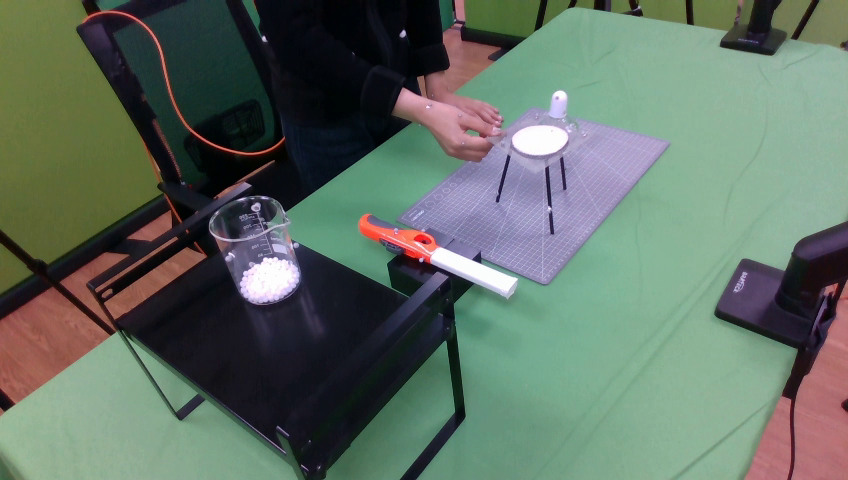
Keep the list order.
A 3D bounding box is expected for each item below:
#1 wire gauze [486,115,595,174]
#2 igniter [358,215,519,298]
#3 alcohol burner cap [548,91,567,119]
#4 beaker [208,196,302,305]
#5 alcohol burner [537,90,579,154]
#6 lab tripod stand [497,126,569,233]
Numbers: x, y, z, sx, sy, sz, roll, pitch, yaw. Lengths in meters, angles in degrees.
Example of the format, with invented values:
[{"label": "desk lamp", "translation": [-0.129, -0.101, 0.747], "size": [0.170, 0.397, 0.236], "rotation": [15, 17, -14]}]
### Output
[{"label": "wire gauze", "translation": [0.178, -0.155, 0.936], "size": [0.122, 0.011, 0.124], "rotation": [-29, 43, -20]}, {"label": "igniter", "translation": [0.010, 0.018, 0.876], "size": [0.274, 0.025, 0.057], "rotation": [23, 46, 28]}, {"label": "alcohol burner cap", "translation": [0.245, -0.247, 1.098], "size": [0.034, 0.048, 0.033], "rotation": [-1, 45, 1]}, {"label": "beaker", "translation": [-0.173, 0.014, 0.647], "size": [0.084, 0.101, 0.073], "rotation": [0, 41, 8]}, {"label": "alcohol burner", "translation": [0.248, -0.220, 1.122], "size": [0.078, 0.119, 0.077], "rotation": [-6, 39, 5]}, {"label": "lab tripod stand", "translation": [0.188, -0.104, 0.979], "size": [0.148, 0.132, 0.147], "rotation": [-3, 41, 3]}]
